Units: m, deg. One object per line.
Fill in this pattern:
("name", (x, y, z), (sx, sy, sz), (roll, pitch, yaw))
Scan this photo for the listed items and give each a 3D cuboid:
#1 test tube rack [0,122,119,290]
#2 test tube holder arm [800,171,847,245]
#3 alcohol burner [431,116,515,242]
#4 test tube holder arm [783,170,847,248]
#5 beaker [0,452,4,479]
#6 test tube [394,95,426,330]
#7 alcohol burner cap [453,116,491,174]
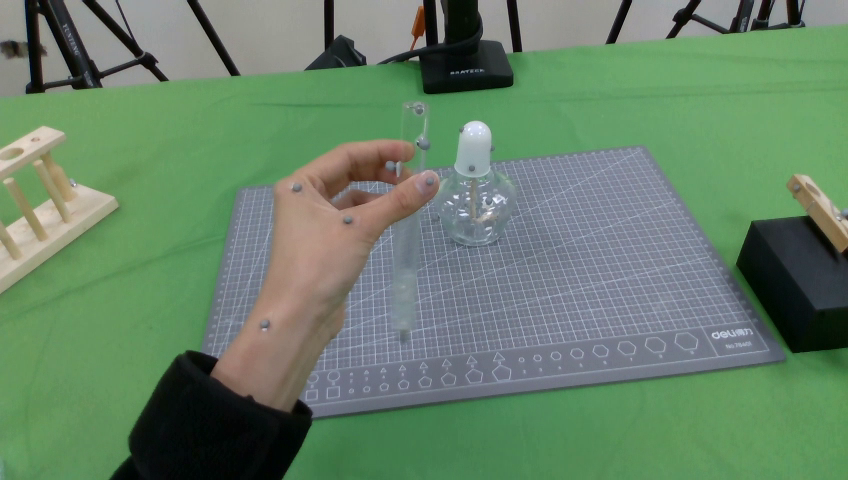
("test tube rack", (-0.412, -0.006, 0.553), (0.066, 0.086, 0.241), (18, 47, 22))
("test tube holder arm", (0.329, 0.004, 0.460), (0.013, 0.015, 0.176), (1, 42, -7))
("alcohol burner", (0.044, -0.058, 0.547), (0.078, 0.120, 0.077), (-3, 41, 3))
("test tube holder arm", (0.320, -0.026, 0.493), (0.010, 0.015, 0.087), (1, 42, -6))
("beaker", (-0.328, 0.137, 0.380), (0.084, 0.101, 0.073), (-23, 45, -19))
("test tube", (-0.010, -0.011, 0.366), (0.017, 0.151, 0.017), (2, 25, -1))
("alcohol burner cap", (0.043, -0.083, 0.523), (0.034, 0.048, 0.033), (2, 42, -1))
